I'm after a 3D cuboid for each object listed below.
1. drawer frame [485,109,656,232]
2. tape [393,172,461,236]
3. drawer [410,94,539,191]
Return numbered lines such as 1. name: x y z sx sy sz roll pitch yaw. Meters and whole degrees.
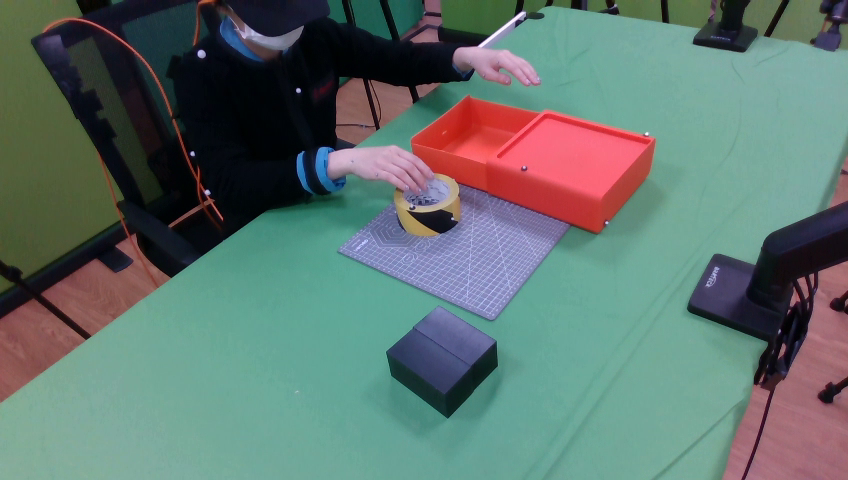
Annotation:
1. drawer frame: 0.247 -0.126 1.029 0.212 0.083 0.202 24 49 30
2. tape: 0.005 -0.061 1.012 0.117 0.053 0.116 -4 40 4
3. drawer: 0.116 -0.180 1.118 0.210 0.073 0.195 22 48 31
